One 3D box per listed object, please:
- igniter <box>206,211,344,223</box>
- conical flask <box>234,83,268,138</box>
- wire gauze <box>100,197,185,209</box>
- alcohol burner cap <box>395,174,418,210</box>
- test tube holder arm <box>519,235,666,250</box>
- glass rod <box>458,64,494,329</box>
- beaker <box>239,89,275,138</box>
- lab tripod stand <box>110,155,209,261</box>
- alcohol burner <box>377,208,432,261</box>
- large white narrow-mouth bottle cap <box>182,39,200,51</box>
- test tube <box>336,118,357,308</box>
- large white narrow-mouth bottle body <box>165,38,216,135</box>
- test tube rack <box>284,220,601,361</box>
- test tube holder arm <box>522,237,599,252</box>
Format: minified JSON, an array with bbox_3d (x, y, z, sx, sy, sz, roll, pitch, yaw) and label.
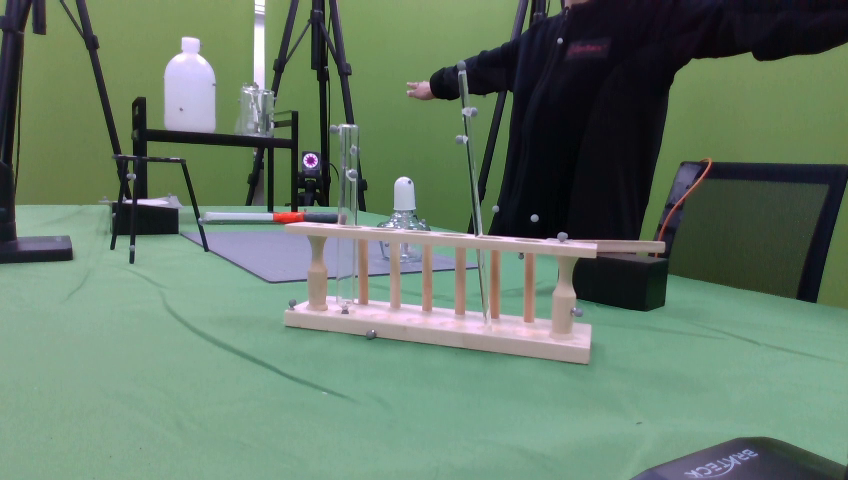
[{"bbox_3d":[-0.302,-0.048,1.249,0.278,0.025,0.057,-2,-2,-27],"label":"igniter"},{"bbox_3d":[-0.400,-0.298,1.395,0.075,0.122,0.075,2,8,0],"label":"conical flask"},{"bbox_3d":[-0.469,-0.062,1.008,0.126,0.011,0.121,-2,8,-25],"label":"wire gauze"},{"bbox_3d":[-0.026,-0.067,0.833,0.034,0.048,0.034,-1,12,1],"label":"alcohol burner cap"},{"bbox_3d":[0.186,0.003,0.656,0.179,0.015,0.013,-1,16,-19],"label":"test tube holder arm"},{"bbox_3d":[0.039,-0.029,0.449,0.008,0.199,0.008,-7,9,1],"label":"glass rod"},{"bbox_3d":[-0.361,-0.273,1.307,0.074,0.100,0.084,1,8,-11],"label":"beaker"},{"bbox_3d":[-0.361,-0.046,0.806,0.148,0.131,0.148,2,5,0],"label":"lab tripod stand"},{"bbox_3d":[-0.027,-0.031,0.838,0.078,0.119,0.078,0,6,0],"label":"alcohol burner"},{"bbox_3d":[-0.488,-0.407,1.265,0.038,0.024,0.037,2,7,0],"label":"large white narrow-mouth bottle cap"},{"bbox_3d":[-0.061,-0.019,0.476,0.017,0.150,0.017,2,10,0],"label":"test tube"},{"bbox_3d":[-0.491,-0.322,1.275,0.102,0.194,0.102,2,7,0],"label":"large white narrow-mouth bottle body"},{"bbox_3d":[0.013,0.032,0.482,0.242,0.085,0.067,4,7,16],"label":"test tube rack"},{"bbox_3d":[0.144,0.005,0.636,0.088,0.015,0.010,-1,16,-19],"label":"test tube holder arm"}]
